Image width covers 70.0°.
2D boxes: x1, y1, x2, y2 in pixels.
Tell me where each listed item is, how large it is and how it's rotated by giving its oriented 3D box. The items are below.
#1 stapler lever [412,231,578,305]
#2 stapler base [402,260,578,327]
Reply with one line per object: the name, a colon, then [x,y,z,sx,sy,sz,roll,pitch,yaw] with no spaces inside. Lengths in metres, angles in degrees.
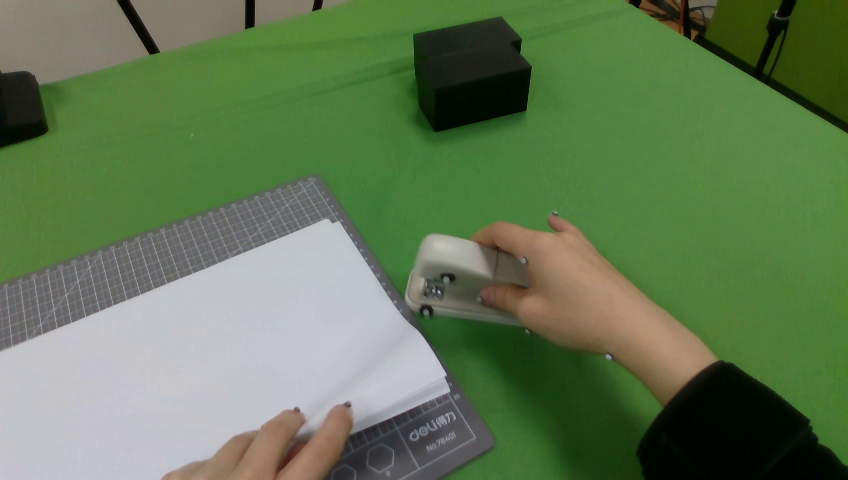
stapler lever: [0.050,0.019,0.424,0.118,0.040,0.026,8,60,6]
stapler base: [0.049,0.033,0.445,0.130,0.024,0.041,8,60,6]
